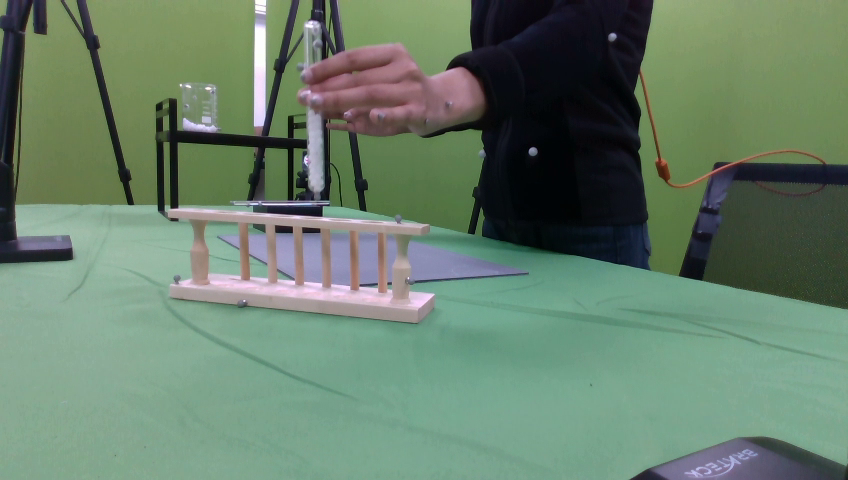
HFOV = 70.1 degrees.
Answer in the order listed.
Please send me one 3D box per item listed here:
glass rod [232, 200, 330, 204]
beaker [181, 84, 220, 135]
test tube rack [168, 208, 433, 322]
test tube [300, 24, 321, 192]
[{"bbox_3d":[-0.266,-0.071,1.146,0.201,0.008,0.008,-4,9,-40],"label":"glass rod"},{"bbox_3d":[-0.475,-0.275,1.281,0.073,0.100,0.084,6,9,35],"label":"beaker"},{"bbox_3d":[-0.115,0.017,0.574,0.242,0.085,0.067,4,8,13],"label":"test tube rack"},{"bbox_3d":[-0.103,-0.118,0.549,0.017,0.150,0.017,0,6,0],"label":"test tube"}]
